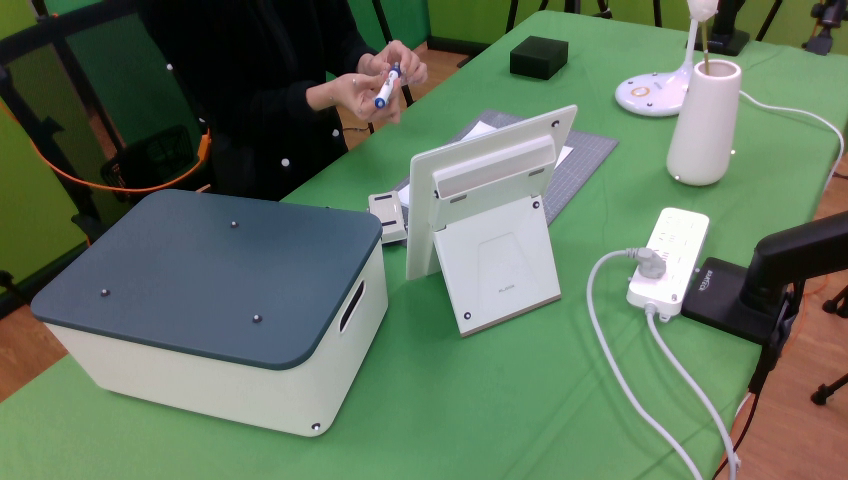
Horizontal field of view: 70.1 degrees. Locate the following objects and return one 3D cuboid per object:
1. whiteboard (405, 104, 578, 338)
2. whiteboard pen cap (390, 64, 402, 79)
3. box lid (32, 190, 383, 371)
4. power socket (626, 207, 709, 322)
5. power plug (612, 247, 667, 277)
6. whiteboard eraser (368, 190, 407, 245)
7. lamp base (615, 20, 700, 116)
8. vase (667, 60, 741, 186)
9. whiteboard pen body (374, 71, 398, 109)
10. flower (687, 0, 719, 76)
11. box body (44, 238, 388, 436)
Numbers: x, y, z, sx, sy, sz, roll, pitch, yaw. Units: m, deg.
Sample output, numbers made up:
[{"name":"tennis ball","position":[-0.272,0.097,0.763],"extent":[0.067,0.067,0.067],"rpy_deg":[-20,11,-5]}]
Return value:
[{"name":"whiteboard","position":[0.102,0.003,0.787],"extent":[0.218,0.306,0.143],"rpy_deg":[-19,62,-14]},{"name":"whiteboard pen cap","position":[-0.045,-0.262,0.951],"extent":[0.018,0.018,0.033],"rpy_deg":[1,37,9]},{"name":"box lid","position":[-0.257,0.032,0.750],"extent":[0.370,0.015,0.263],"rpy_deg":[7,41,16]},{"name":"power socket","position":[0.360,0.026,0.886],"extent":[0.072,0.033,0.227],"rpy_deg":[17,46,27]},{"name":"power plug","position":[0.306,0.031,0.852],"extent":[0.072,0.053,0.035],"rpy_deg":[21,48,37]},{"name":"whiteboard eraser","position":[-0.061,-0.035,1.006],"extent":[0.056,0.042,0.112],"rpy_deg":[-9,40,-3]},{"name":"lamp base","position":[0.484,-0.364,1.211],"extent":[0.180,0.181,0.159],"rpy_deg":[-15,41,-14]},{"name":"vase","position":[0.463,-0.189,0.994],"extent":[0.098,0.201,0.097],"rpy_deg":[-4,40,3]},{"name":"whiteboard pen body","position":[-0.054,-0.229,0.903],"extent":[0.017,0.017,0.140],"rpy_deg":[1,35,9]},{"name":"flower","position":[0.436,-0.242,0.934],"extent":[0.038,0.364,0.043],"rpy_deg":[-24,49,9]},{"name":"box body","position":[-0.251,0.088,0.799],"extent":[0.362,0.161,0.254],"rpy_deg":[7,42,16]}]
